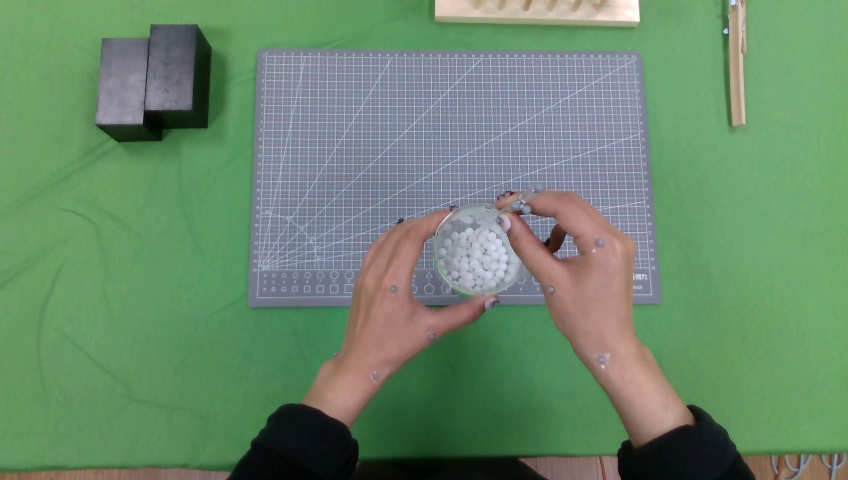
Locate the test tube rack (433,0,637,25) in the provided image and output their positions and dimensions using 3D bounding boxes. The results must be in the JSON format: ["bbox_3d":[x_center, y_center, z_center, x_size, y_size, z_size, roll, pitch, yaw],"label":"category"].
[{"bbox_3d":[0.133,-0.301,0.690,0.242,0.085,0.066,1,79,-2],"label":"test tube rack"}]

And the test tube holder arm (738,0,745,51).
[{"bbox_3d":[0.376,-0.267,0.726,0.010,0.015,0.087,12,78,-29],"label":"test tube holder arm"}]

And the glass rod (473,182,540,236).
[{"bbox_3d":[0.057,-0.019,0.462,0.008,0.200,0.008,1,82,-6],"label":"glass rod"}]

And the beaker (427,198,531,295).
[{"bbox_3d":[0.044,0.011,0.518,0.084,0.100,0.074,20,83,2],"label":"beaker"}]

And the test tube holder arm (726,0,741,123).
[{"bbox_3d":[0.367,-0.224,0.716,0.013,0.015,0.177,11,78,-30],"label":"test tube holder arm"}]
